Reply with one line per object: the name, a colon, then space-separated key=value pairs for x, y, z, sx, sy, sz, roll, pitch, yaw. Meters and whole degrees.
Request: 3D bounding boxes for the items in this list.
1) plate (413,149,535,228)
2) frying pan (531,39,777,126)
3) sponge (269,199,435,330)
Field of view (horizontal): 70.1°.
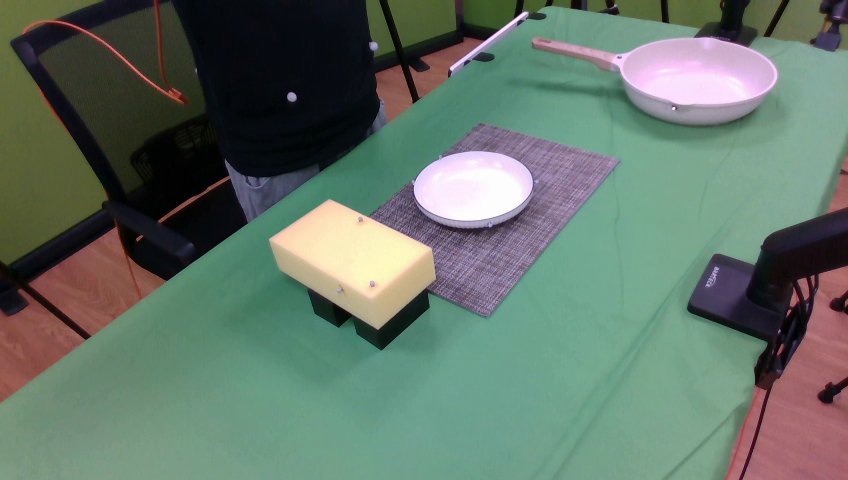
plate: x=0.086 y=-0.085 z=1.038 sx=0.207 sy=0.039 sz=0.206 roll=-4 pitch=40 yaw=4
frying pan: x=0.452 y=-0.354 z=1.254 sx=0.485 sy=0.103 sz=0.307 roll=22 pitch=47 yaw=19
sponge: x=-0.102 y=0.027 z=0.846 sx=0.205 sy=0.061 sz=0.118 roll=25 pitch=50 yaw=32
